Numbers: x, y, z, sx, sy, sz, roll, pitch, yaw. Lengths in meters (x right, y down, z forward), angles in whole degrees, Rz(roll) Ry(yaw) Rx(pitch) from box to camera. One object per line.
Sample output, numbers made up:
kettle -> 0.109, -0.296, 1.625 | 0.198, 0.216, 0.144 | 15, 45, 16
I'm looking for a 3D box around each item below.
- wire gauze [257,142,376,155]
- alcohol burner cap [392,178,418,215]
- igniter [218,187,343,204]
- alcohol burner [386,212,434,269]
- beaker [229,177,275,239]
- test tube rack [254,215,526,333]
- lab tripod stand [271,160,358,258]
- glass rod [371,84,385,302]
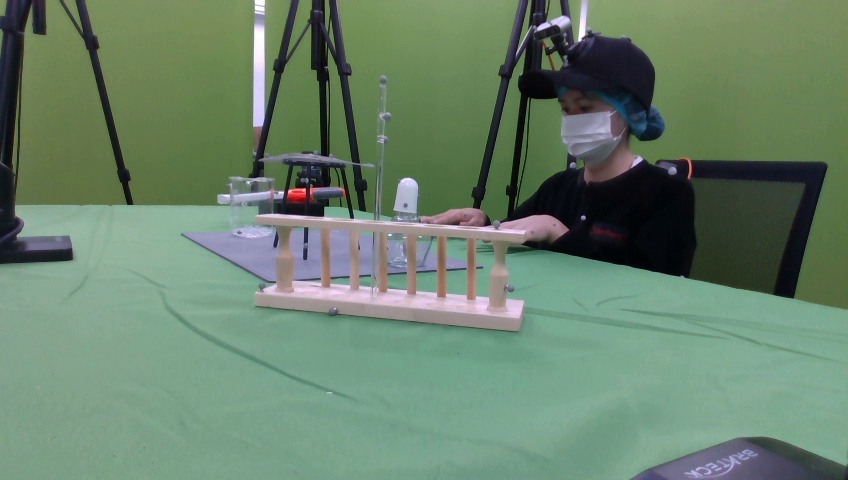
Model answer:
wire gauze -> -0.155, -0.130, 0.871 | 0.124, 0.011, 0.122 | -1, 7, 36
alcohol burner cap -> -0.023, -0.057, 0.795 | 0.034, 0.048, 0.034 | 6, 6, 0
igniter -> -0.287, -0.093, 1.257 | 0.278, 0.025, 0.057 | -8, 12, -41
alcohol burner -> -0.025, -0.022, 0.800 | 0.078, 0.119, 0.078 | 1, 6, 0
beaker -> -0.292, -0.056, 1.023 | 0.074, 0.100, 0.083 | -1, 8, -26
test tube rack -> -0.030, 0.025, 0.558 | 0.242, 0.085, 0.067 | 4, 7, 12
lab tripod stand -> -0.159, -0.048, 0.876 | 0.148, 0.131, 0.148 | 3, 5, 0
glass rod -> -0.041, -0.041, 0.548 | 0.008, 0.199, 0.008 | 2, 2, 0
